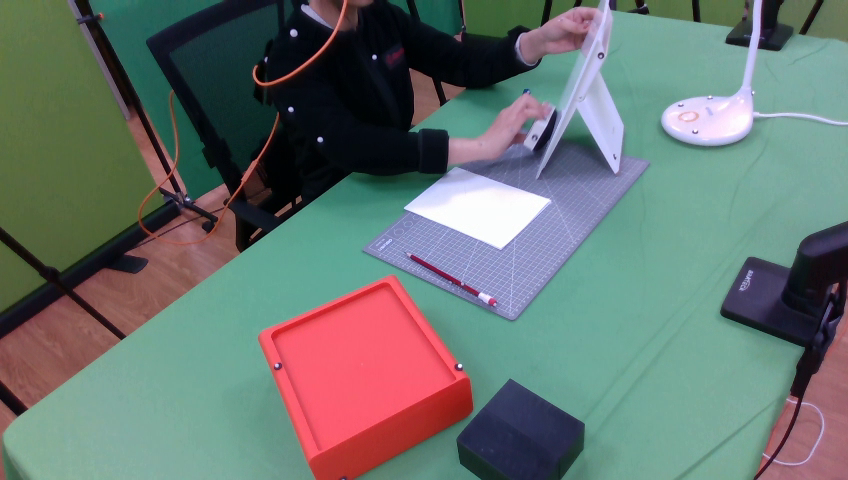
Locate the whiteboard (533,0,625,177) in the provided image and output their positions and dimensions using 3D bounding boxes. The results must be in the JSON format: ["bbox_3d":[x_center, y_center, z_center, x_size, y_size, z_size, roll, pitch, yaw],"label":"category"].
[{"bbox_3d":[0.321,-0.258,1.049,0.144,0.306,0.217,20,45,4],"label":"whiteboard"}]

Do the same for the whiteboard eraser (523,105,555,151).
[{"bbox_3d":[0.218,-0.206,1.119,0.042,0.055,0.112,27,35,3],"label":"whiteboard eraser"}]

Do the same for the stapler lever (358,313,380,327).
[{"bbox_3d":[-0.106,0.127,0.792,0.118,0.040,0.026,-15,26,2],"label":"stapler lever"}]

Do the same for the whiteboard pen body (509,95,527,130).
[{"bbox_3d":[0.199,-0.273,1.262,0.017,0.017,0.140,8,44,19],"label":"whiteboard pen body"}]

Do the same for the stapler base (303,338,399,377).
[{"bbox_3d":[-0.099,0.150,0.805,0.130,0.024,0.041,-13,26,1],"label":"stapler base"}]

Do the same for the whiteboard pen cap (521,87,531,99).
[{"bbox_3d":[0.219,-0.313,1.301,0.018,0.018,0.033,6,47,17],"label":"whiteboard pen cap"}]

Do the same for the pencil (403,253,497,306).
[{"bbox_3d":[0.034,0.056,0.914,0.192,0.012,0.012,27,52,38],"label":"pencil"}]

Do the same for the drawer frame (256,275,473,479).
[{"bbox_3d":[-0.078,0.164,0.756,0.202,0.083,0.211,-23,43,-17],"label":"drawer frame"}]

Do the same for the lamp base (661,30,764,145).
[{"bbox_3d":[0.535,-0.287,1.096,0.179,0.181,0.159,-10,40,-4],"label":"lamp base"}]

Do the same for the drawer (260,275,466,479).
[{"bbox_3d":[-0.080,0.162,0.760,0.195,0.073,0.210,-22,42,-16],"label":"drawer"}]
